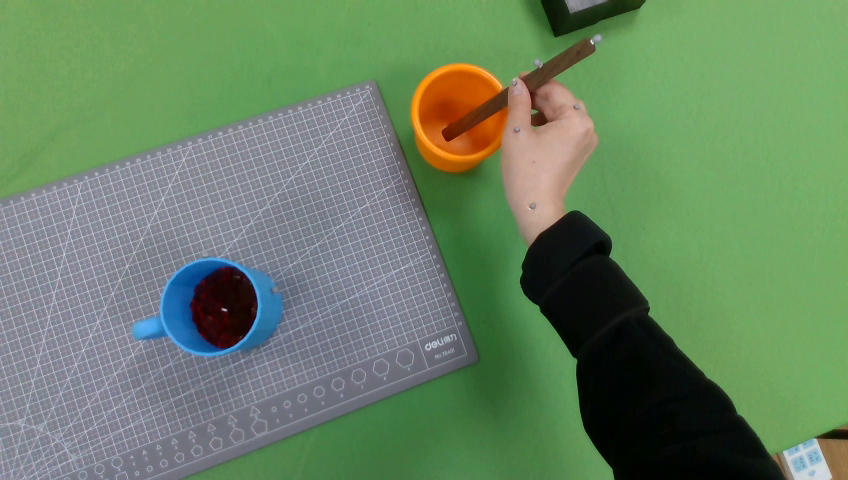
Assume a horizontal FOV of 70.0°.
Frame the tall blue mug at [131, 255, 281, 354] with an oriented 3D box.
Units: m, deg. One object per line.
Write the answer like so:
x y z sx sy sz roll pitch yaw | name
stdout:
-0.180 0.066 0.518 0.107 0.108 0.078 -44 89 -8 | tall blue mug

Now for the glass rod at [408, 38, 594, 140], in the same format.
0.057 -0.125 0.523 0.008 0.199 0.008 21 60 -42 | glass rod
